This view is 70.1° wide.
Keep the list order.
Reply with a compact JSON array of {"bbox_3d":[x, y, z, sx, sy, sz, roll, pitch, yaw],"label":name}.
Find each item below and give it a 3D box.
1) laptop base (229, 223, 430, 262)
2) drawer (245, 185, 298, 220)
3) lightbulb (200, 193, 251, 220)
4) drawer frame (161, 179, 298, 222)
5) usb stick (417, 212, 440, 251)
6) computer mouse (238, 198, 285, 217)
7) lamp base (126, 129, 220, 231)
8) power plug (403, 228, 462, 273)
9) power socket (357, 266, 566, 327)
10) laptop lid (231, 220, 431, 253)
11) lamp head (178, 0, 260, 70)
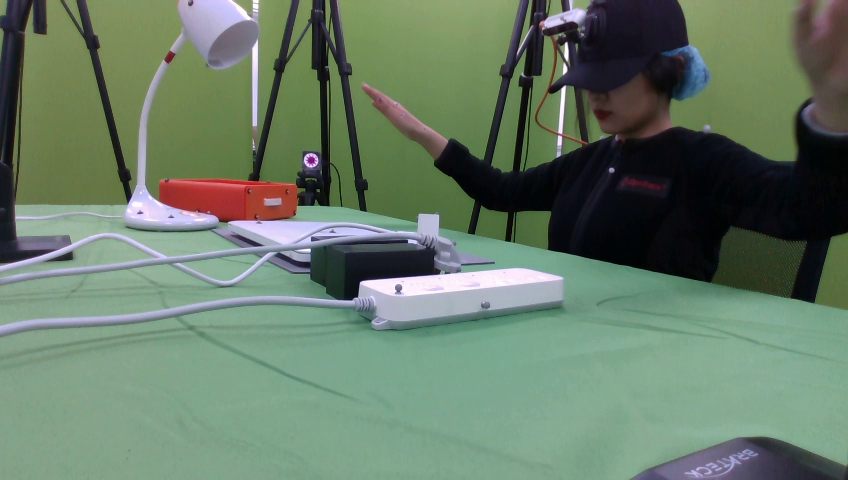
[{"bbox_3d":[-0.145,0.002,0.943,0.237,0.023,0.352,2,6,-32],"label":"laptop base"},{"bbox_3d":[-0.416,-0.087,1.329,0.211,0.073,0.195,4,8,18],"label":"drawer"},{"bbox_3d":[-0.433,-0.079,1.319,0.108,0.059,0.059,-17,13,-16],"label":"lightbulb"},{"bbox_3d":[-0.420,-0.089,1.328,0.213,0.082,0.202,4,8,18],"label":"drawer frame"},{"bbox_3d":[0.005,-0.003,0.721,0.027,0.059,0.021,0,-3,-2],"label":"usb stick"},{"bbox_3d":[-0.354,-0.072,1.326,0.063,0.041,0.117,3,2,11],"label":"computer mouse"},{"bbox_3d":[-0.470,-0.111,1.105,0.179,0.180,0.160,1,7,6],"label":"lamp base"},{"bbox_3d":[0.006,0.016,0.647,0.073,0.052,0.035,17,12,-6],"label":"power plug"},{"bbox_3d":[0.042,0.049,0.573,0.228,0.032,0.072,-3,8,-34],"label":"power socket"},{"bbox_3d":[-0.142,-0.009,0.942,0.243,0.013,0.355,1,7,-31],"label":"laptop lid"},{"bbox_3d":[-0.365,-0.368,1.038,0.123,0.112,0.112,42,14,6],"label":"lamp head"}]
